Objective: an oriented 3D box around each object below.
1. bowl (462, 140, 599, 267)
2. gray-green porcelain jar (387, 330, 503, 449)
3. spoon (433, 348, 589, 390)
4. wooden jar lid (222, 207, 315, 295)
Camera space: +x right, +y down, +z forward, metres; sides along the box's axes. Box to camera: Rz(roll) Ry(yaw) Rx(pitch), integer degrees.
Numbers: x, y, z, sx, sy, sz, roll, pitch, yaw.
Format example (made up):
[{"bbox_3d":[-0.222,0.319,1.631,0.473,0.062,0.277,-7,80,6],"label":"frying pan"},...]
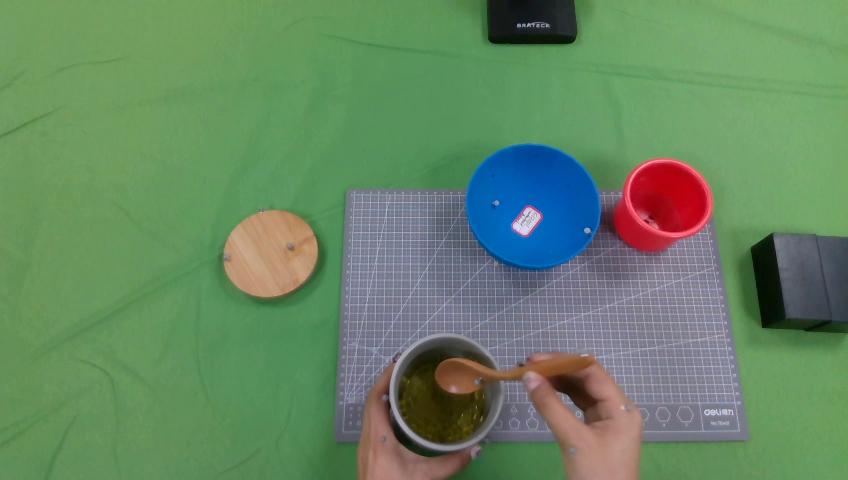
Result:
[{"bbox_3d":[0.117,-0.031,0.700,0.151,0.077,0.150,0,70,-1],"label":"bowl"},{"bbox_3d":[0.017,0.154,0.607,0.106,0.127,0.105,1,71,-2],"label":"gray-green porcelain jar"},{"bbox_3d":[0.066,0.109,0.509,0.042,0.193,0.021,51,59,-9],"label":"spoon"},{"bbox_3d":[-0.182,0.014,0.713,0.108,0.021,0.107,0,70,0],"label":"wooden jar lid"}]
